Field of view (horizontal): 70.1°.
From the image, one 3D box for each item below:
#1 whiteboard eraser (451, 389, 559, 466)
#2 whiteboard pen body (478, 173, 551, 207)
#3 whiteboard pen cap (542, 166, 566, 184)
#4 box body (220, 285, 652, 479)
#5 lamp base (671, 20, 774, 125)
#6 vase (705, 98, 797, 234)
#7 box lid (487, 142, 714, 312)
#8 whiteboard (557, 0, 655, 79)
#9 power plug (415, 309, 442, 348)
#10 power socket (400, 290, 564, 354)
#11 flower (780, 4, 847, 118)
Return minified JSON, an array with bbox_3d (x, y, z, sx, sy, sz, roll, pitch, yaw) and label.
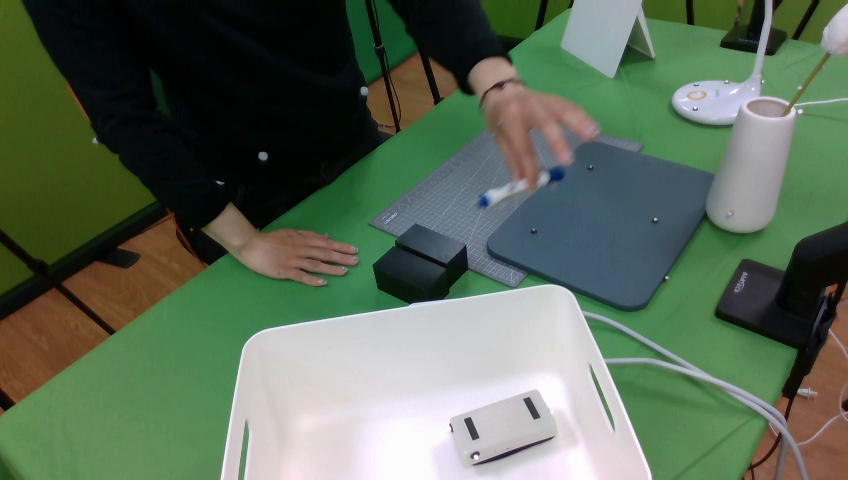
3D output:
[{"bbox_3d":[0.090,0.213,0.682,0.113,0.042,0.055,-17,39,-8],"label":"whiteboard eraser"},{"bbox_3d":[0.107,-0.058,0.660,0.017,0.017,0.141,29,34,35],"label":"whiteboard pen body"},{"bbox_3d":[0.149,-0.074,0.698,0.018,0.018,0.033,29,34,35],"label":"whiteboard pen cap"},{"bbox_3d":[0.005,0.211,0.616,0.364,0.161,0.252,-9,40,-2],"label":"box body"},{"bbox_3d":[0.581,-0.332,1.154,0.179,0.181,0.160,2,41,7],"label":"lamp base"},{"bbox_3d":[0.480,-0.104,0.888,0.098,0.201,0.097,-4,42,4],"label":"vase"},{"bbox_3d":[0.298,-0.041,0.986,0.261,0.015,0.372,23,49,30],"label":"box lid"},{"bbox_3d":[0.462,-0.542,1.366,0.145,0.306,0.215,-3,36,-25],"label":"whiteboard"},{"bbox_3d":[0.004,0.121,0.786,0.035,0.053,0.072,1,45,9],"label":"power plug"},{"bbox_3d":[0.079,0.111,0.823,0.227,0.033,0.072,-6,41,1],"label":"power socket"},{"bbox_3d":[0.480,-0.157,0.824,0.044,0.362,0.038,-9,56,-10],"label":"flower"}]
